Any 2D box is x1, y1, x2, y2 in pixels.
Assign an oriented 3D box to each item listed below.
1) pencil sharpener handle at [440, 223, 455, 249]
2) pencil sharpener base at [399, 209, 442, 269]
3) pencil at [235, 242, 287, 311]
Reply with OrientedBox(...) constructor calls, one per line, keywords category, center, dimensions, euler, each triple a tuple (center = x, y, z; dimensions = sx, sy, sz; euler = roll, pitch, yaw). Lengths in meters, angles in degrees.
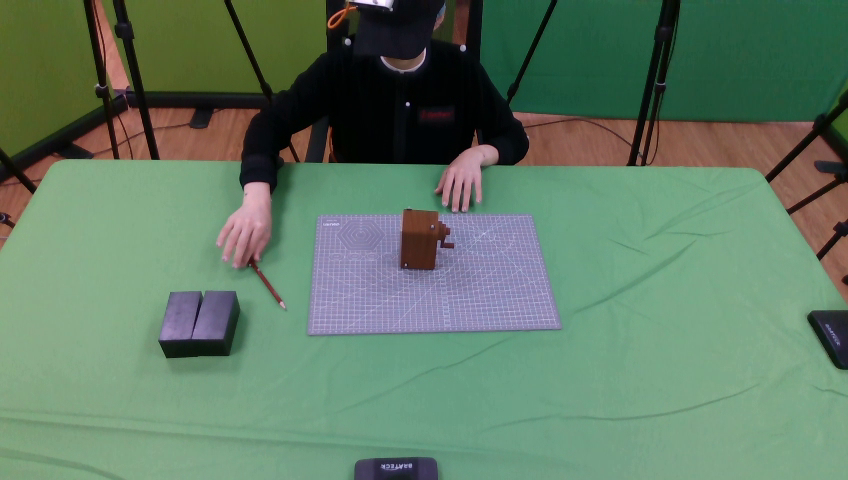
OrientedBox(category="pencil sharpener handle", center=(0.045, -0.007, 1.127), dimensions=(0.030, 0.068, 0.036), euler=(3, 52, -1))
OrientedBox(category="pencil sharpener base", center=(-0.007, 0.000, 1.134), dimensions=(0.077, 0.107, 0.061), euler=(3, 46, -1))
OrientedBox(category="pencil", center=(-0.303, 0.066, 1.123), dimensions=(0.012, 0.012, 0.193), euler=(-28, 57, -27))
